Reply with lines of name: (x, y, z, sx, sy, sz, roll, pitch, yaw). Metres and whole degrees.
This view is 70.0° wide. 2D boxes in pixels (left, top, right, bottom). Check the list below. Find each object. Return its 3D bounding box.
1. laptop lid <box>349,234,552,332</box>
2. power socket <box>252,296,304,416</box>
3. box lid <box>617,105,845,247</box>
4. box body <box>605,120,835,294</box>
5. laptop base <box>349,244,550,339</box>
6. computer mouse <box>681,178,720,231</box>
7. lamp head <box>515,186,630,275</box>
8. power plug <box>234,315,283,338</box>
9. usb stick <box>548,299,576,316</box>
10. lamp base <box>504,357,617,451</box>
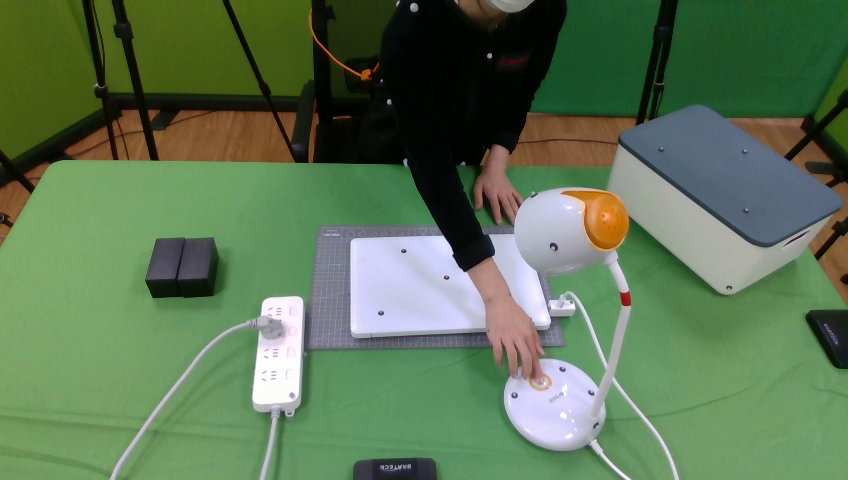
laptop lid: (0.040, 0.072, 1.118, 0.357, 0.013, 0.240, 0, 44, -5)
power socket: (-0.238, 0.181, 0.997, 0.072, 0.033, 0.225, -3, 47, -5)
box lid: (0.586, -0.138, 1.176, 0.263, 0.015, 0.369, -22, 51, -23)
box body: (0.582, -0.088, 1.230, 0.254, 0.161, 0.361, -22, 52, -23)
laptop base: (0.039, 0.081, 1.125, 0.355, 0.023, 0.234, -2, 43, -6)
computer mouse: (0.596, -0.078, 1.290, 0.117, 0.041, 0.062, 56, 45, -7)
lamp head: (0.188, -0.013, 0.728, 0.112, 0.112, 0.122, -25, 9, -25)
power plug: (-0.269, 0.143, 1.000, 0.072, 0.053, 0.035, 4, 47, 3)
usb stick: (0.239, 0.121, 1.083, 0.059, 0.027, 0.021, -1, 51, -2)
lamp base: (0.220, 0.211, 0.903, 0.160, 0.181, 0.178, -32, 59, -30)
